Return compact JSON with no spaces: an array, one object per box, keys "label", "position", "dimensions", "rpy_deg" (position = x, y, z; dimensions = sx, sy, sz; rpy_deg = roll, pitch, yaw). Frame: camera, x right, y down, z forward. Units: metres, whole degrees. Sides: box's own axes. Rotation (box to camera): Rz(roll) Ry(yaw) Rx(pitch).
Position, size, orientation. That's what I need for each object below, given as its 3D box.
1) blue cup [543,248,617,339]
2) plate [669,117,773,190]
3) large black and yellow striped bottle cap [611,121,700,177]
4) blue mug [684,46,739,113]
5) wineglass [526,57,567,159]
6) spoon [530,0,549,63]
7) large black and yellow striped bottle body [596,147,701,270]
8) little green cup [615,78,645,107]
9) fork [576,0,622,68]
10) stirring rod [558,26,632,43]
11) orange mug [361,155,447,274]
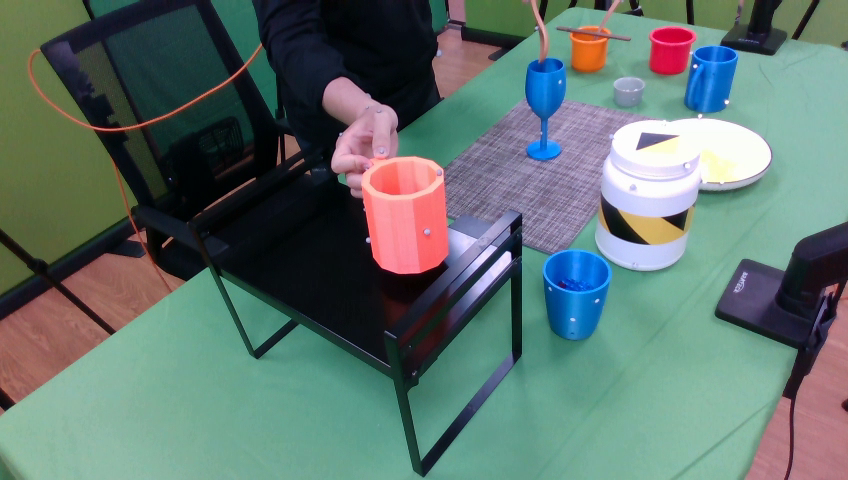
[{"label":"blue cup","position":[0.199,0.076,0.797],"dimensions":[0.092,0.100,0.092],"rpy_deg":[-4,38,4]},{"label":"plate","position":[0.495,-0.148,1.063],"dimensions":[0.209,0.038,0.208],"rpy_deg":[-5,40,4]},{"label":"large black and yellow striped bottle cap","position":[0.315,-0.126,0.823],"dimensions":[0.115,0.019,0.114],"rpy_deg":[-4,42,4]},{"label":"blue mug","position":[0.556,-0.310,1.190],"dimensions":[0.117,0.106,0.081],"rpy_deg":[-32,46,-25]},{"label":"wineglass","position":[0.221,-0.237,1.097],"dimensions":[0.074,0.173,0.073],"rpy_deg":[-4,41,4]},{"label":"spoon","position":[0.186,-0.394,1.007],"dimensions":[0.021,0.194,0.041],"rpy_deg":[-12,9,5]},{"label":"large black and yellow striped bottle body","position":[0.323,-0.062,0.877],"dimensions":[0.131,0.185,0.130],"rpy_deg":[-5,40,4]},{"label":"little green cup","position":[0.426,-0.306,1.257],"dimensions":[0.061,0.039,0.061],"rpy_deg":[-4,40,4]},{"label":"fork","position":[0.409,-0.484,1.381],"dimensions":[0.028,0.019,0.207],"rpy_deg":[37,101,46]},{"label":"stirring rod","position":[0.381,-0.462,1.356],"dimensions":[0.175,0.006,0.014],"rpy_deg":[23,48,29]},{"label":"orange mug","position":[-0.028,-0.037,0.659],"dimensions":[0.084,0.101,0.125],"rpy_deg":[-21,45,-21]}]
